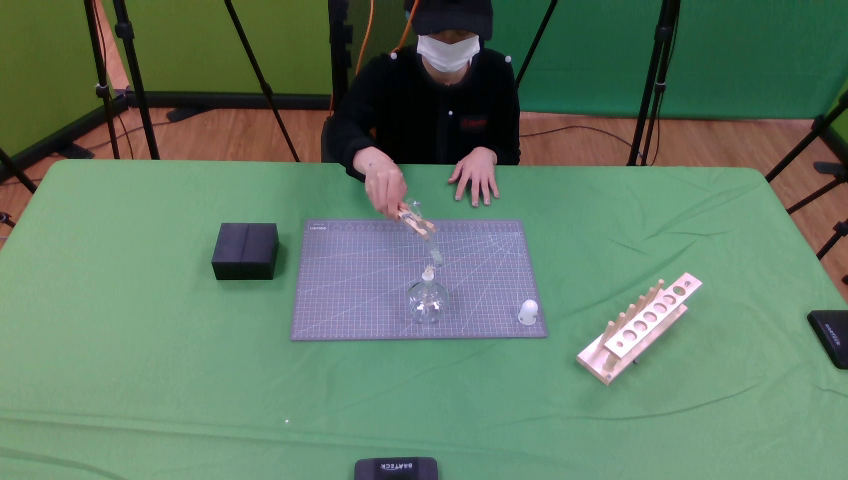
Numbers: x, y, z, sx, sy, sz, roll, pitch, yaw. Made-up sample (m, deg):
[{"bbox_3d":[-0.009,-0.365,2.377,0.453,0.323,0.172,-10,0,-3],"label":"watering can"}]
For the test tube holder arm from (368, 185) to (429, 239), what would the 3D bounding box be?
[{"bbox_3d":[-0.045,-0.048,0.973,0.013,0.015,0.177,-39,45,-13],"label":"test tube holder arm"}]

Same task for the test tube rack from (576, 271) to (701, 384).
[{"bbox_3d":[0.373,0.138,1.047,0.242,0.085,0.066,-31,56,-29],"label":"test tube rack"}]

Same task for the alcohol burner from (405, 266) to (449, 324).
[{"bbox_3d":[0.005,0.089,1.043,0.078,0.120,0.077,1,45,-1],"label":"alcohol burner"}]

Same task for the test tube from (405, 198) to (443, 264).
[{"bbox_3d":[0.002,-0.011,0.937,0.017,0.151,0.017,-12,47,13],"label":"test tube"}]

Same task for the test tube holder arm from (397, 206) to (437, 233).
[{"bbox_3d":[-0.014,-0.033,0.944,0.087,0.015,0.010,28,65,41],"label":"test tube holder arm"}]

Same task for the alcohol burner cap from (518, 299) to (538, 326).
[{"bbox_3d":[0.186,0.126,1.072,0.034,0.048,0.033,1,45,-1],"label":"alcohol burner cap"}]
